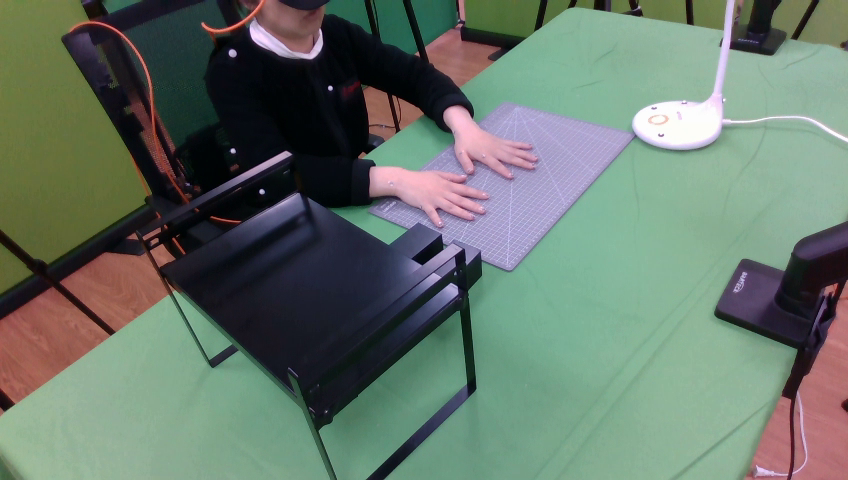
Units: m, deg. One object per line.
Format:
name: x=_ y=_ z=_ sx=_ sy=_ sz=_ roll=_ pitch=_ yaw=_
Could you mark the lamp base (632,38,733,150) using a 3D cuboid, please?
lamp base: x=0.486 y=-0.280 z=1.108 sx=0.179 sy=0.181 sz=0.159 roll=-5 pitch=41 yaw=-1
